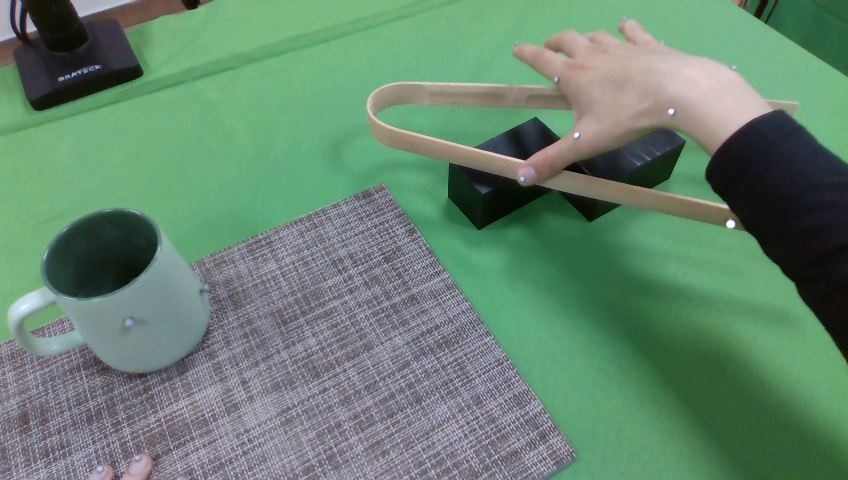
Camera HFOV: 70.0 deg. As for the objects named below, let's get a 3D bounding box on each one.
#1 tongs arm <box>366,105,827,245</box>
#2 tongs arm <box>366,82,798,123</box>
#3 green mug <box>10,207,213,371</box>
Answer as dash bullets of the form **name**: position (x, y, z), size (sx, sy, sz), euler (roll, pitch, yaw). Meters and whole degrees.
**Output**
- **tongs arm**: position (0.126, -0.055, 0.509), size (0.386, 0.028, 0.028), euler (15, 61, 12)
- **tongs arm**: position (0.142, -0.117, 0.553), size (0.384, 0.027, 0.050), euler (5, 56, 5)
- **green mug**: position (-0.229, 0.045, 0.445), size (0.125, 0.106, 0.091), euler (-26, 58, -18)
